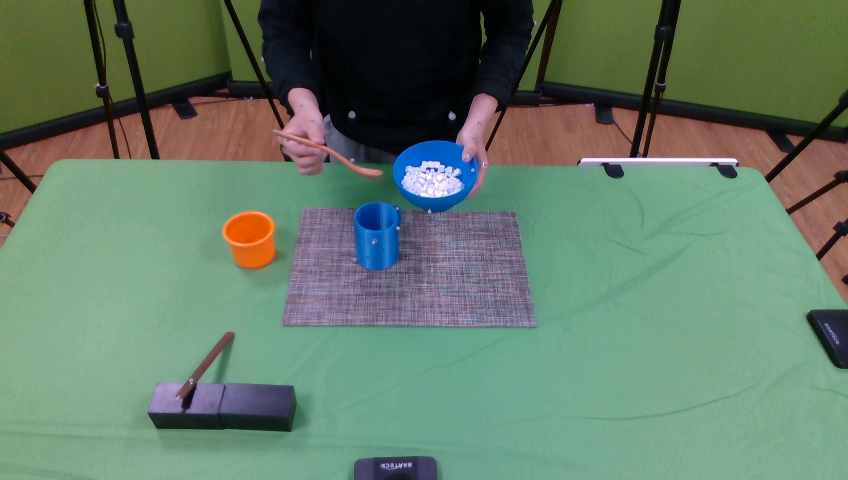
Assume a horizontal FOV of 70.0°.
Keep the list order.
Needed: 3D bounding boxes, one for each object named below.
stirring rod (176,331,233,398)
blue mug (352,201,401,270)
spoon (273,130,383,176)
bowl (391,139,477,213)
[{"bbox_3d":[-0.342,0.192,0.955,0.014,0.006,0.175,3,24,7],"label":"stirring rod"},{"bbox_3d":[-0.082,-0.017,1.144,0.082,0.106,0.116,30,51,22],"label":"blue mug"},{"bbox_3d":[-0.152,-0.141,0.981,0.195,0.021,0.041,23,12,-30],"label":"spoon"},{"bbox_3d":[0.020,-0.101,1.082,0.151,0.077,0.150,-2,50,2],"label":"bowl"}]
